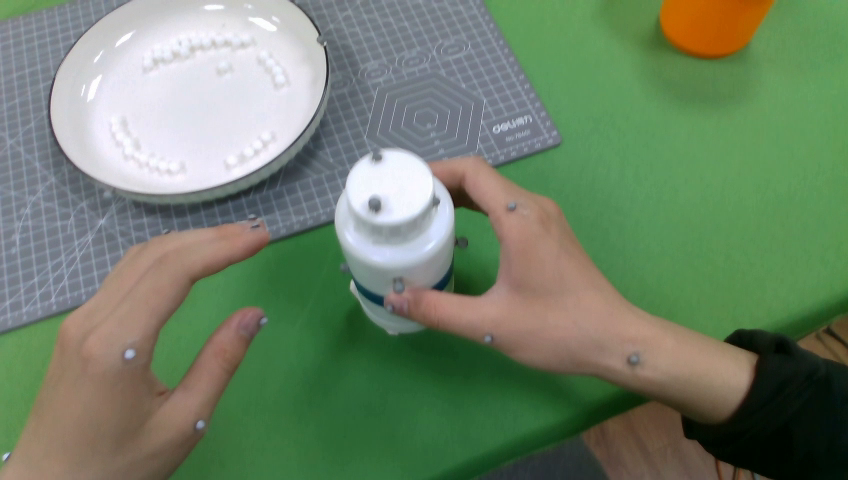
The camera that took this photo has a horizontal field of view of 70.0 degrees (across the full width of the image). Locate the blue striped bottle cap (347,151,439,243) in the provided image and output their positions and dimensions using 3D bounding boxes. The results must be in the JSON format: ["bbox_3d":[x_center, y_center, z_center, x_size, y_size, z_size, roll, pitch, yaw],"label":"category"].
[{"bbox_3d":[-0.015,-0.021,0.297,0.044,0.021,0.044,-2,64,4],"label":"blue striped bottle cap"}]

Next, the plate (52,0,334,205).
[{"bbox_3d":[-0.170,-0.113,0.466,0.207,0.039,0.206,-1,64,2],"label":"plate"}]

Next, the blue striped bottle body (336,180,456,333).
[{"bbox_3d":[-0.014,0.004,0.343,0.063,0.122,0.062,-1,62,2],"label":"blue striped bottle body"}]
